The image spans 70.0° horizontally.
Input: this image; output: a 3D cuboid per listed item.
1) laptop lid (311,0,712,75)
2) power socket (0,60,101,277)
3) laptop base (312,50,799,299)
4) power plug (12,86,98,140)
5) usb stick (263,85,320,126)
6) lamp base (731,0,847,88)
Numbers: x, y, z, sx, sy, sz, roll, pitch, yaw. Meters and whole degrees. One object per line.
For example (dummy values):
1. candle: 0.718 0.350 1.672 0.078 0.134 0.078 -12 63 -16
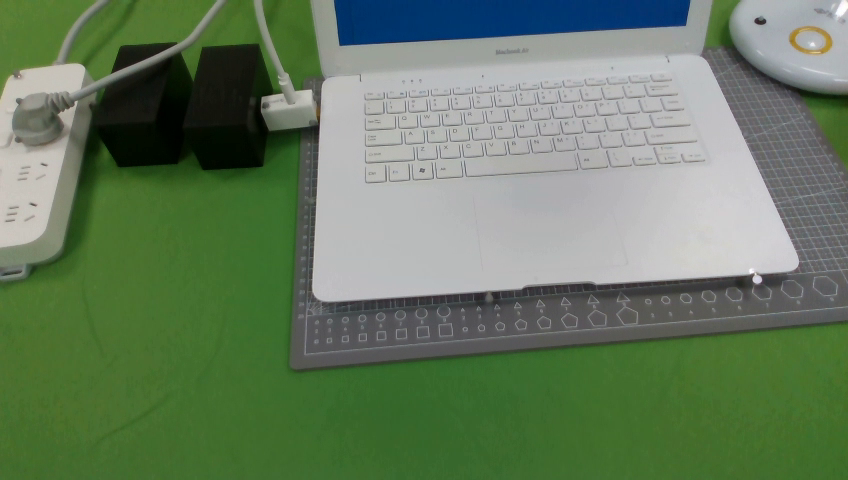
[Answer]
1. laptop lid: 0.076 -0.256 0.496 0.357 0.244 0.013 -5 34 0
2. power socket: -0.325 -0.072 0.508 0.072 0.033 0.224 -7 55 -4
3. laptop base: 0.089 -0.063 0.498 0.354 0.023 0.233 -4 59 -1
4. power plug: -0.298 -0.097 0.496 0.072 0.053 0.035 1 55 2
5. usb stick: -0.108 -0.117 0.526 0.059 0.027 0.021 -5 57 -1
6. lamp base: 0.381 -0.254 0.521 0.159 0.182 0.178 27 57 20
